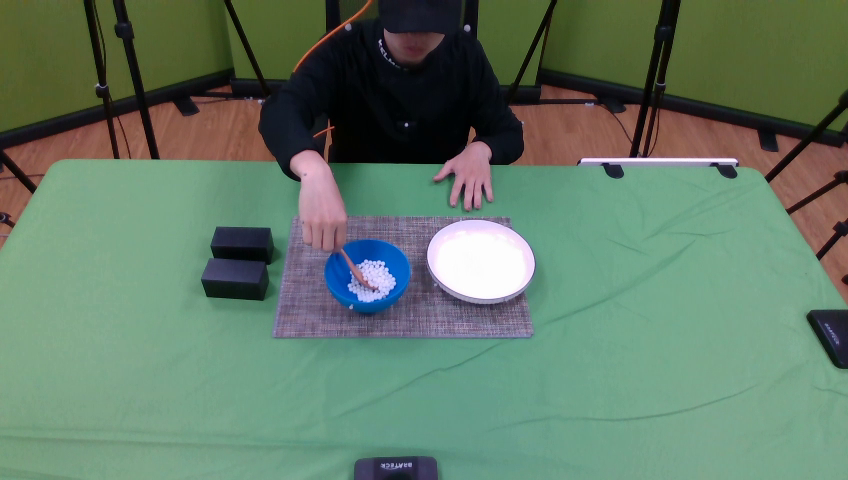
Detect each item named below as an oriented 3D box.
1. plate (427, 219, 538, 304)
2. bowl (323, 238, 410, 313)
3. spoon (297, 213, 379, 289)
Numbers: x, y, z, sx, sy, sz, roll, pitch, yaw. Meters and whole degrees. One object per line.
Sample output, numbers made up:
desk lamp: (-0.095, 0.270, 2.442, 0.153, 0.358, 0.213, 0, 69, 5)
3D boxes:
plate: (0.109, 0.044, 1.149, 0.208, 0.039, 0.206, 2, 46, -2)
bowl: (-0.101, 0.076, 1.073, 0.151, 0.077, 0.150, 3, 46, -3)
spoon: (-0.150, 0.020, 1.064, 0.021, 0.194, 0.041, -39, 14, 9)
